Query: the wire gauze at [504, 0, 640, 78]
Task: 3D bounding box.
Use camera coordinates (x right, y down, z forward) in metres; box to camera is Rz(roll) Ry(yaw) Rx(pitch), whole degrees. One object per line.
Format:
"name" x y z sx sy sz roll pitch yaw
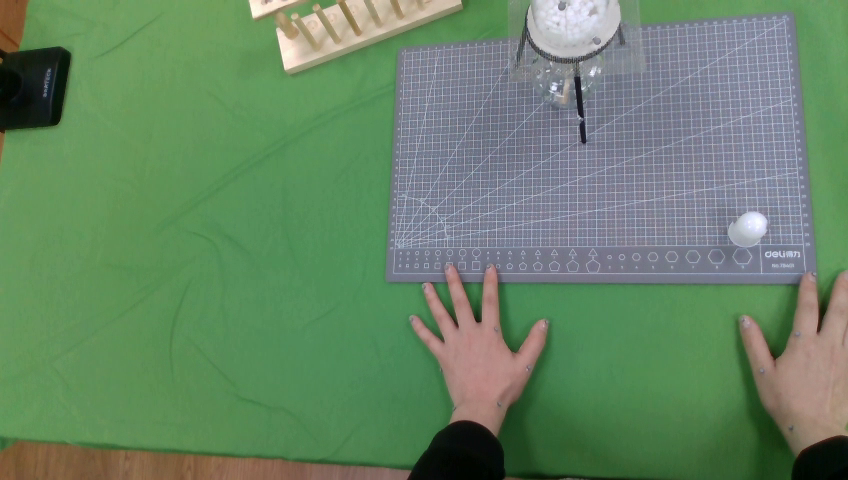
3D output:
"wire gauze" 0.139 -0.213 0.576 0.125 0.011 0.121 -1 82 11

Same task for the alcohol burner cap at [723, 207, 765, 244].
"alcohol burner cap" 0.323 -0.017 0.606 0.034 0.048 0.033 -3 77 13

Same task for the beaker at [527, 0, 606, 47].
"beaker" 0.122 -0.223 0.532 0.083 0.101 0.074 13 82 17

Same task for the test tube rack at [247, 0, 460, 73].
"test tube rack" -0.086 -0.295 0.748 0.242 0.086 0.066 -18 74 10

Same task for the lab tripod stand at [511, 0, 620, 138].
"lab tripod stand" 0.155 -0.198 0.638 0.148 0.132 0.147 -2 79 12

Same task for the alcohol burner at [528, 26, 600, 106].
"alcohol burner" 0.149 -0.193 0.649 0.078 0.120 0.077 -3 77 12
